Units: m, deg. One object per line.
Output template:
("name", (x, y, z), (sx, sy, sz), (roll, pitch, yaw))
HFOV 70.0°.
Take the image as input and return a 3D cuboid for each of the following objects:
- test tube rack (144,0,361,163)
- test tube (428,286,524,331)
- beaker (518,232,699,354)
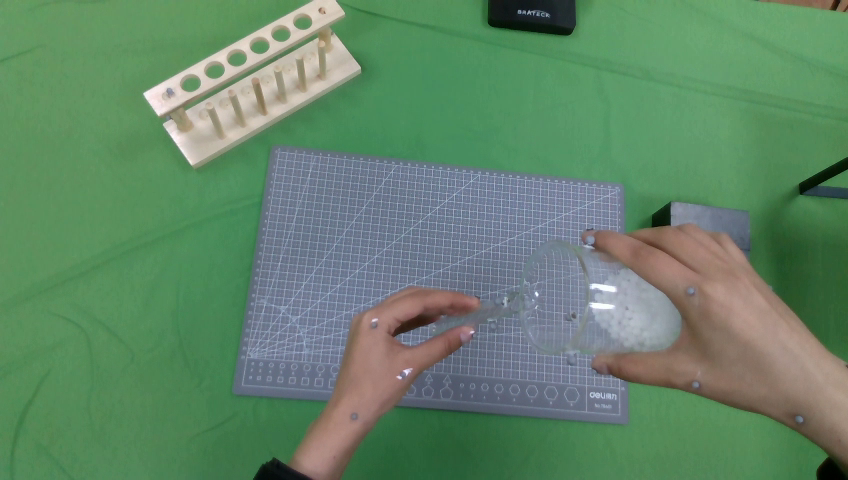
("test tube rack", (-0.193, -0.195, 0.720), (0.242, 0.085, 0.066), (-35, 81, -14))
("test tube", (0.037, 0.058, 0.490), (0.017, 0.150, 0.017), (6, 73, -21))
("beaker", (0.123, 0.039, 0.408), (0.101, 0.084, 0.073), (8, 78, -23))
